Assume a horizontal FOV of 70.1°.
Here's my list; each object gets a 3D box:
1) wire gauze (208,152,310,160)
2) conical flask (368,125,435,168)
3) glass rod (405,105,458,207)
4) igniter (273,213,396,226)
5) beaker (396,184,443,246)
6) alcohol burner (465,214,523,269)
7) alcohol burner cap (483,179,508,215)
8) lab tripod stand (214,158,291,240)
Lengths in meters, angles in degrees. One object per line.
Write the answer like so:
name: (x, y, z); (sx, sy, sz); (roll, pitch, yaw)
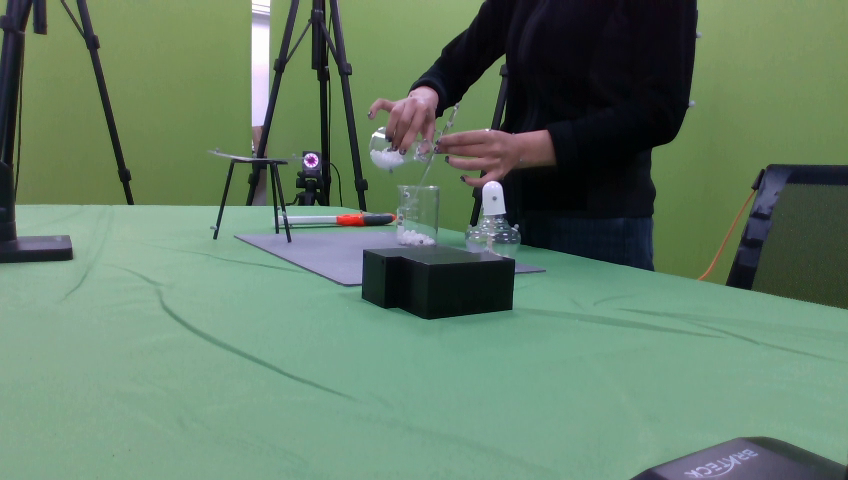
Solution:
wire gauze: (-0.270, -0.135, 0.993); (0.124, 0.011, 0.122); (8, 8, 41)
conical flask: (-0.033, -0.156, 1.022); (0.076, 0.075, 0.121); (-4, 11, -39)
glass rod: (0.010, -0.131, 0.975); (0.008, 0.199, 0.008); (20, 33, -13)
igniter: (-0.178, -0.044, 1.258); (0.278, 0.025, 0.057); (-3, -1, -39)
beaker: (-0.011, -0.043, 1.004); (0.083, 0.100, 0.074); (8, 9, 39)
alcohol burner: (0.094, -0.022, 0.815); (0.078, 0.119, 0.078); (0, 7, 0)
alcohol burner cap: (0.094, -0.057, 0.810); (0.034, 0.048, 0.034); (-7, 6, 1)
lab tripod stand: (-0.268, -0.068, 1.002); (0.148, 0.131, 0.148); (3, 6, 0)
